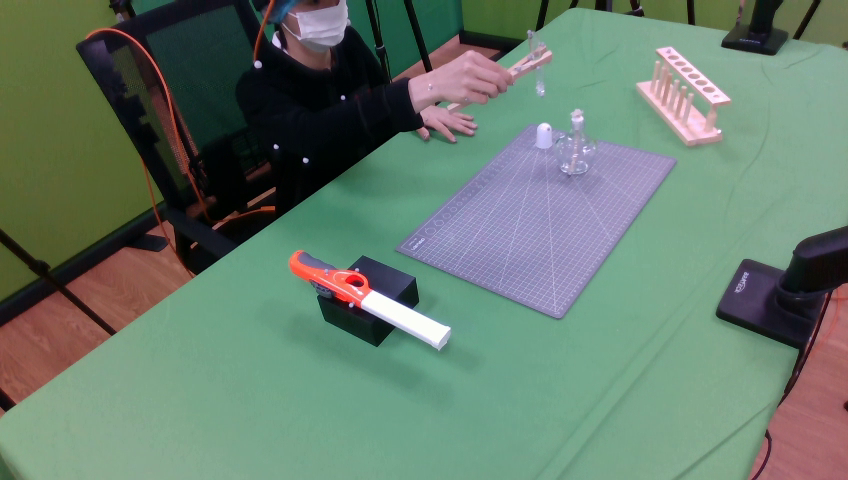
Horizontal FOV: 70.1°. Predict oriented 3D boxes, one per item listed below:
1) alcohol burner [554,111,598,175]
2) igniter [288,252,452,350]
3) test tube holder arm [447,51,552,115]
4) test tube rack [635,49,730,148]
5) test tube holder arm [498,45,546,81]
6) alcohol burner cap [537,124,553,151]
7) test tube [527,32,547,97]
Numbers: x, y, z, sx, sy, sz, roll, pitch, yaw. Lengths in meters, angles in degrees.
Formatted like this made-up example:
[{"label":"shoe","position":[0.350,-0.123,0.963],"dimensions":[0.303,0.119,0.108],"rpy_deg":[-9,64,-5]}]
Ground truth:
[{"label":"alcohol burner","position":[0.270,-0.175,1.066],"dimensions":[0.078,0.119,0.077],"rpy_deg":[-4,42,4]},{"label":"igniter","position":[-0.084,0.077,0.821],"dimensions":[0.274,0.025,0.057],"rpy_deg":[23,48,27]},{"label":"test tube holder arm","position":[0.116,-0.240,0.925],"dimensions":[0.178,0.015,0.013],"rpy_deg":[-30,63,0]},{"label":"test tube rack","position":[0.497,-0.283,1.185],"dimensions":[0.067,0.085,0.240],"rpy_deg":[-10,40,-2]},{"label":"test tube holder arm","position":[0.151,-0.268,0.928],"dimensions":[0.088,0.015,0.010],"rpy_deg":[-37,64,-4]},{"label":"alcohol burner cap","position":[0.232,-0.199,1.158],"dimensions":[0.034,0.048,0.033],"rpy_deg":[-5,40,5]},{"label":"test tube","position":[0.178,-0.270,0.945],"dimensions":[0.017,0.151,0.017],"rpy_deg":[-6,67,15]}]
